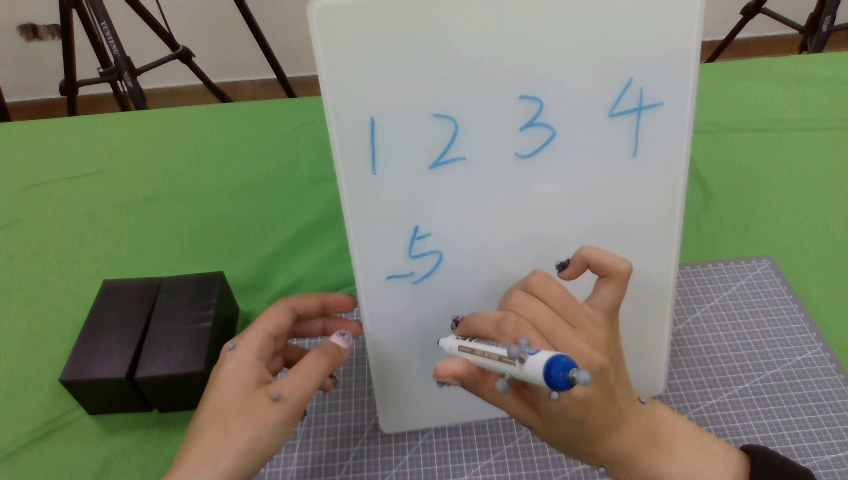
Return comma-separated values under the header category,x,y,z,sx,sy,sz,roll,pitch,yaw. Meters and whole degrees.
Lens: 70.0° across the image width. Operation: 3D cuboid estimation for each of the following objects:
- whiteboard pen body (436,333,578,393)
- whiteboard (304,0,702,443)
category,x,y,z,sx,sy,sz,roll,pitch,yaw
whiteboard pen body,0.032,0.058,0.306,0.017,0.017,0.140,-25,5,-20
whiteboard,0.054,-0.031,0.444,0.217,0.307,0.142,-7,26,-2
